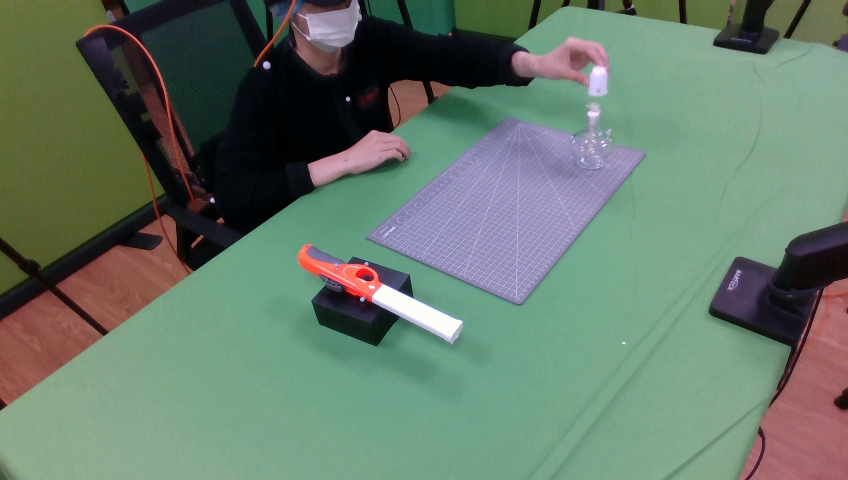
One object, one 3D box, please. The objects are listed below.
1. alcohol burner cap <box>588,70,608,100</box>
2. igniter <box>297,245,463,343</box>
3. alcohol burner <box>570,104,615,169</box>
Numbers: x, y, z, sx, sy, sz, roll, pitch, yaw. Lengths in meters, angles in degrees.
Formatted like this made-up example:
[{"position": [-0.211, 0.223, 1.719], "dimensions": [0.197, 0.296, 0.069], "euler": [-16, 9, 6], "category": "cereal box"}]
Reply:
[{"position": [0.292, -0.261, 1.014], "dimensions": [0.034, 0.048, 0.033], "euler": [-7, 35, 5], "category": "alcohol burner cap"}, {"position": [-0.070, 0.068, 0.827], "dimensions": [0.274, 0.025, 0.057], "euler": [23, 50, 25], "category": "igniter"}, {"position": [0.299, -0.187, 1.071], "dimensions": [0.078, 0.119, 0.077], "euler": [-6, 41, 6], "category": "alcohol burner"}]
